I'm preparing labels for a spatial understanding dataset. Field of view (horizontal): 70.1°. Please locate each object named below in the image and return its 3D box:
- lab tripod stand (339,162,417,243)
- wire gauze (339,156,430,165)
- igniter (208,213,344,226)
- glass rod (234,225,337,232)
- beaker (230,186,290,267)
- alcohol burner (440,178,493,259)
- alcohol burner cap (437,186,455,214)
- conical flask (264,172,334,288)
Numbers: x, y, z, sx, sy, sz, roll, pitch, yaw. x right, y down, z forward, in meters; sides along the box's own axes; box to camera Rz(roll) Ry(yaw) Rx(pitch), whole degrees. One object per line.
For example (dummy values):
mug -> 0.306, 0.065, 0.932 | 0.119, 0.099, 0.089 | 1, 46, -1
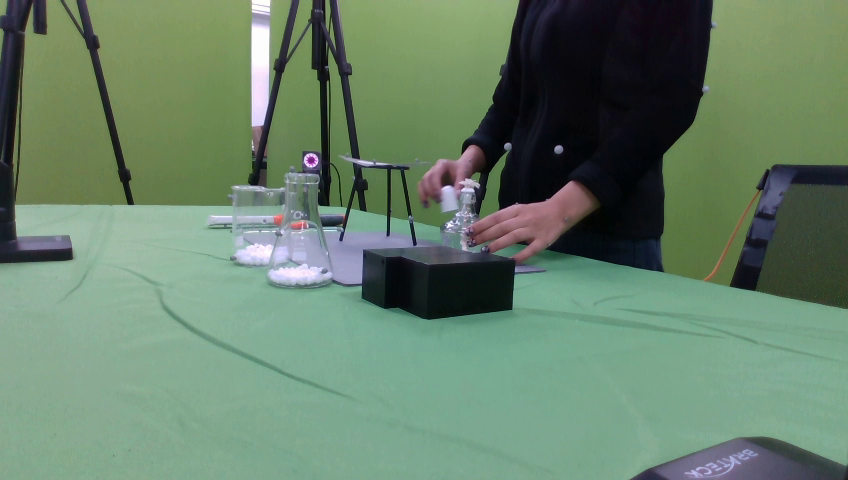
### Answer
lab tripod stand -> -0.067, -0.065, 1.027 | 0.148, 0.131, 0.148 | 4, 7, 0
wire gauze -> -0.067, -0.132, 1.022 | 0.122, 0.011, 0.124 | -1, 9, -31
igniter -> -0.283, -0.041, 1.200 | 0.278, 0.025, 0.057 | -2, -2, -34
glass rod -> -0.256, -0.022, 1.136 | 0.201, 0.008, 0.008 | -3, 9, -33
beaker -> -0.209, -0.019, 0.778 | 0.074, 0.100, 0.084 | 3, 6, 4
alcohol burner -> 0.063, -0.032, 0.887 | 0.078, 0.119, 0.078 | 4, 6, 0
alcohol burner cap -> 0.037, -0.072, 1.076 | 0.034, 0.048, 0.034 | -4, 11, 1
conical flask -> -0.136, -0.013, 0.660 | 0.075, 0.122, 0.075 | 2, 7, 0
